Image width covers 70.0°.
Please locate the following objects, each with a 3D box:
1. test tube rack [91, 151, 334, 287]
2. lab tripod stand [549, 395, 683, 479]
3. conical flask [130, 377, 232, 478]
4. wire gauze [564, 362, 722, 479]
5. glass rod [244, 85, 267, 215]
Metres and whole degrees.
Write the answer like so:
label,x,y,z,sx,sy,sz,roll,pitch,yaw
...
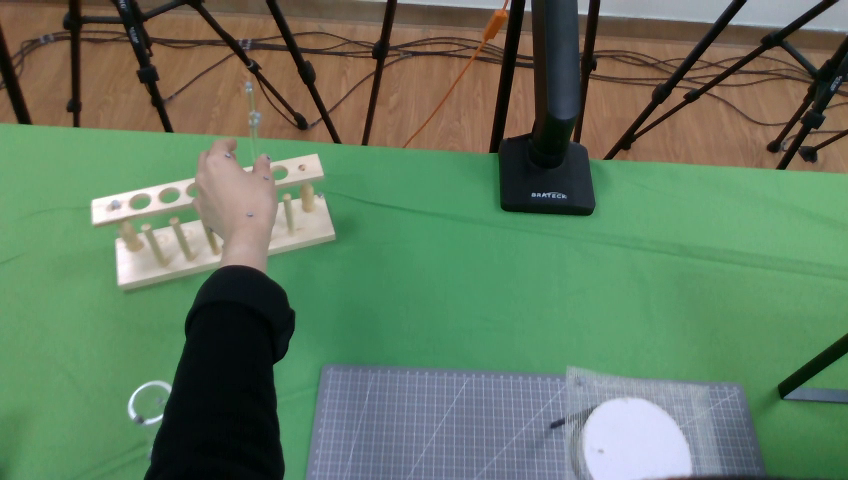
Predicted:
label,x,y,z,sx,sy,sz,roll,pitch,yaw
test tube rack,-0.232,-0.024,0.689,0.243,0.086,0.066,-14,58,-13
lab tripod stand,0.160,0.200,0.528,0.148,0.132,0.147,3,54,-3
conical flask,-0.222,0.161,0.542,0.075,0.123,0.074,1,55,-2
wire gauze,0.170,0.159,0.474,0.121,0.011,0.124,8,56,0
glass rod,-0.180,-0.088,0.654,0.008,0.201,0.008,4,54,-6
